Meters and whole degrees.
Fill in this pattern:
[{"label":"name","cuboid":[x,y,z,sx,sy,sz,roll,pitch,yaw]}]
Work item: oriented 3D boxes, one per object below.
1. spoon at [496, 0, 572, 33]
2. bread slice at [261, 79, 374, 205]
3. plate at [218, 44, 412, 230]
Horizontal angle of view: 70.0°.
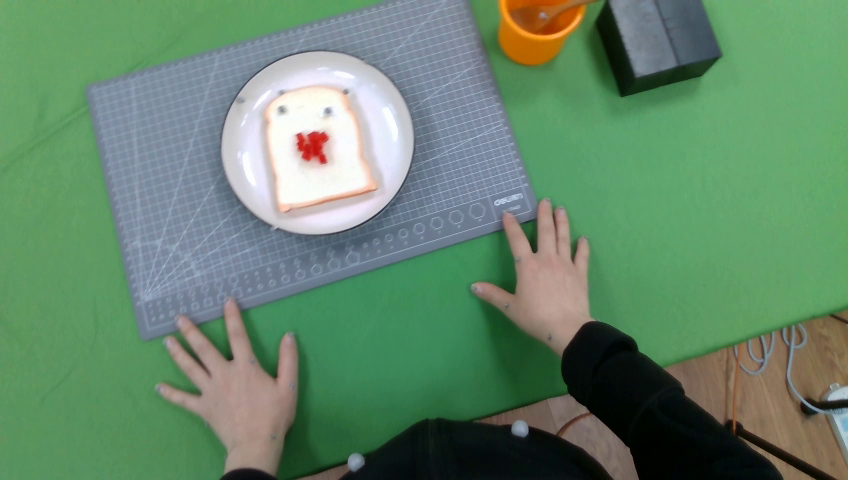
[{"label":"spoon","cuboid":[0.158,-0.254,0.638,0.022,0.192,0.041,22,76,-42]},{"label":"bread slice","cuboid":[-0.124,-0.110,0.663,0.107,0.018,0.134,-17,81,-5]},{"label":"plate","cuboid":[-0.116,-0.111,0.663,0.209,0.038,0.208,0,81,-1]}]
